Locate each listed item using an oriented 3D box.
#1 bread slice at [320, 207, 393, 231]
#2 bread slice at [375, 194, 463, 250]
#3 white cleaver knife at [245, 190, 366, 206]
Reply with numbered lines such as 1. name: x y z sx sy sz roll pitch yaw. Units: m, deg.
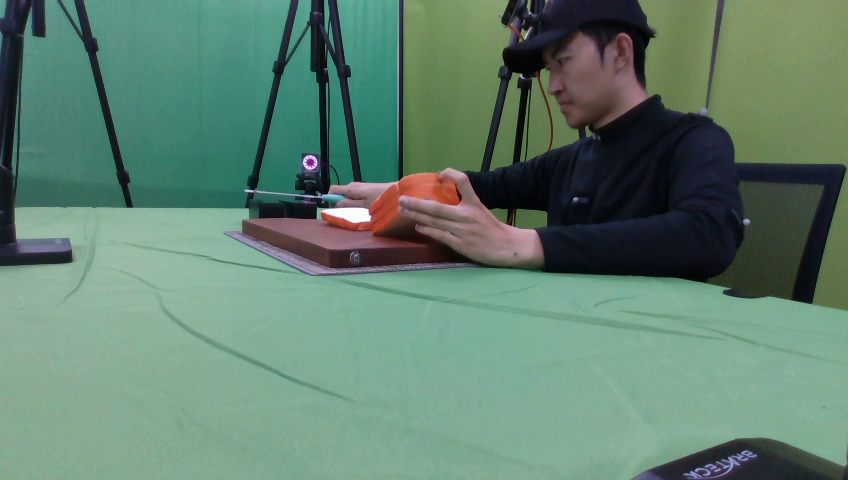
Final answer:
1. bread slice: -0.114 -0.037 1.042 0.105 0.019 0.131 -6 16 -40
2. bread slice: -0.006 -0.025 0.889 0.107 0.018 0.134 -5 -27 -27
3. white cleaver knife: -0.243 -0.095 1.296 0.288 0.021 0.065 4 3 -45
